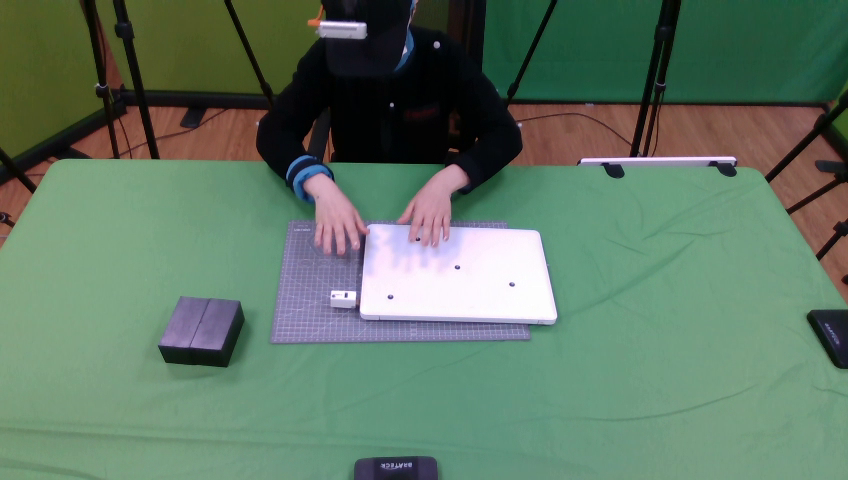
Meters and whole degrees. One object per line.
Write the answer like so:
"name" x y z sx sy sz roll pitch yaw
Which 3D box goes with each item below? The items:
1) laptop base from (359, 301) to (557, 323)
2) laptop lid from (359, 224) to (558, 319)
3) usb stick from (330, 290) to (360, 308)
"laptop base" 0.061 0.063 1.145 0.354 0.023 0.234 2 43 -3
"laptop lid" 0.062 0.053 1.138 0.357 0.013 0.240 3 44 -2
"usb stick" -0.135 0.105 1.068 0.059 0.027 0.021 6 44 -7
